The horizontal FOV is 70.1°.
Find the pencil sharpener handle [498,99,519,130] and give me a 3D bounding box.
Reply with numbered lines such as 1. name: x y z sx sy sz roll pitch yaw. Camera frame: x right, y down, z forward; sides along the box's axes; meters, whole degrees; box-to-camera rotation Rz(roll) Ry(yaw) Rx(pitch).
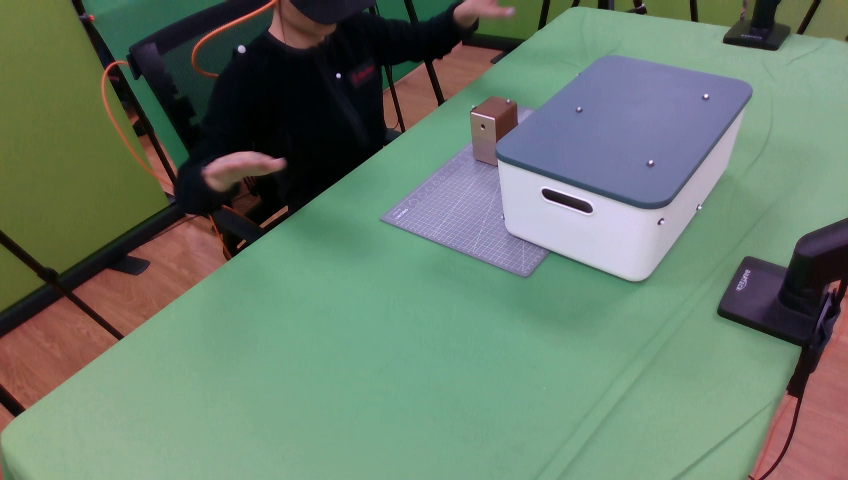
1. pencil sharpener handle: 0.165 -0.243 1.148 0.035 0.068 0.031 21 49 35

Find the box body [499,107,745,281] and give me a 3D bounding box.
1. box body: 0.315 -0.124 0.958 0.252 0.161 0.365 24 50 32

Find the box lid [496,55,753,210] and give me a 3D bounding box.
1. box lid: 0.308 -0.181 0.911 0.261 0.015 0.372 24 50 31

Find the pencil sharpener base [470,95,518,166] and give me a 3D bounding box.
1. pencil sharpener base: 0.134 -0.205 1.128 0.061 0.107 0.077 23 50 33
